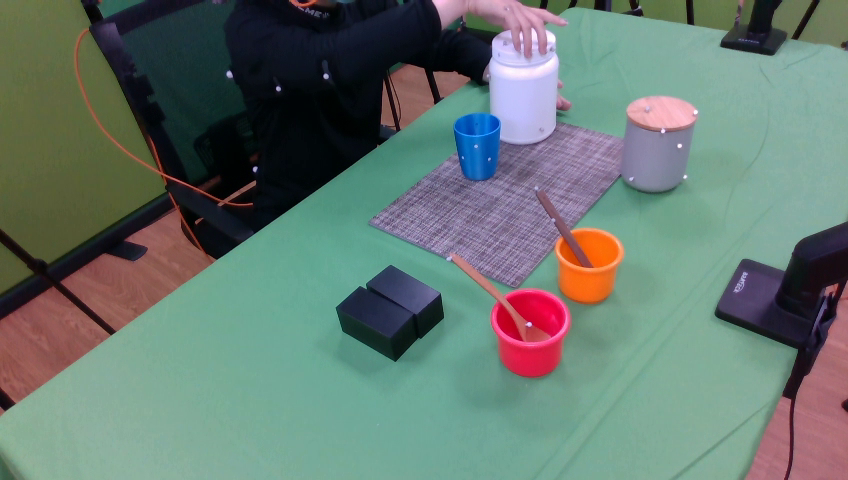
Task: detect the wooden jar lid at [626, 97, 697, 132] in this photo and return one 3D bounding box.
[{"bbox_3d":[0.381,-0.198,0.976,0.108,0.021,0.108,-2,40,3],"label":"wooden jar lid"}]

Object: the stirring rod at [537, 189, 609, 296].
[{"bbox_3d":[0.211,0.003,0.855,0.014,0.006,0.176,-32,89,-30],"label":"stirring rod"}]

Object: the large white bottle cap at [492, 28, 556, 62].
[{"bbox_3d":[0.182,-0.357,1.103,0.115,0.018,0.114,-3,40,3],"label":"large white bottle cap"}]

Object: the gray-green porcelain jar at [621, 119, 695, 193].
[{"bbox_3d":[0.389,-0.152,1.016,0.106,0.127,0.105,-4,40,4],"label":"gray-green porcelain jar"}]

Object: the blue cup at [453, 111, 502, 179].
[{"bbox_3d":[0.097,-0.166,1.089,0.092,0.100,0.092,-3,41,3],"label":"blue cup"}]

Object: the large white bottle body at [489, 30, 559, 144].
[{"bbox_3d":[0.191,-0.293,1.158,0.130,0.185,0.130,-4,41,4],"label":"large white bottle body"}]

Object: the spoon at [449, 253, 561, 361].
[{"bbox_3d":[0.103,0.083,0.770,0.194,0.021,0.042,47,51,-7],"label":"spoon"}]
